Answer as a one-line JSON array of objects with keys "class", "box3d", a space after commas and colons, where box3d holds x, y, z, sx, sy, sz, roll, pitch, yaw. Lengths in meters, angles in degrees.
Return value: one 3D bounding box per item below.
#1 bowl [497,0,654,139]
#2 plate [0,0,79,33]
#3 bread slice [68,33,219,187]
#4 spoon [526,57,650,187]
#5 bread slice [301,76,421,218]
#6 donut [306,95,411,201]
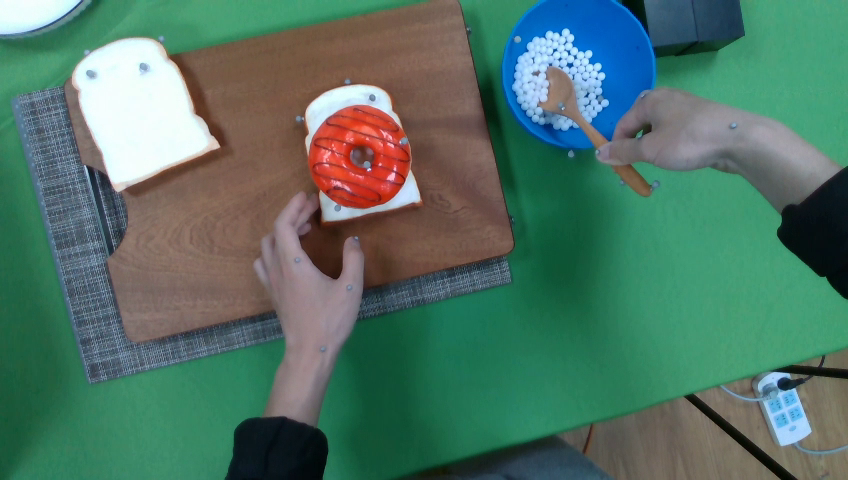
[{"class": "bowl", "box3d": [0.143, -0.172, 0.613, 0.151, 0.076, 0.151, 0, 92, -4]}, {"class": "plate", "box3d": [-0.413, -0.303, 0.588, 0.208, 0.039, 0.207, 0, 92, -4]}, {"class": "bread slice", "box3d": [-0.277, -0.129, 0.584, 0.107, 0.018, 0.134, -28, 93, -3]}, {"class": "spoon", "box3d": [0.147, -0.112, 0.559, 0.041, 0.191, 0.022, -34, 138, 9]}, {"class": "bread slice", "box3d": [-0.069, -0.095, 0.602, 0.105, 0.019, 0.131, -15, 95, -5]}, {"class": "donut", "box3d": [-0.062, -0.086, 0.573, 0.099, 0.048, 0.099, 0, 93, -4]}]
